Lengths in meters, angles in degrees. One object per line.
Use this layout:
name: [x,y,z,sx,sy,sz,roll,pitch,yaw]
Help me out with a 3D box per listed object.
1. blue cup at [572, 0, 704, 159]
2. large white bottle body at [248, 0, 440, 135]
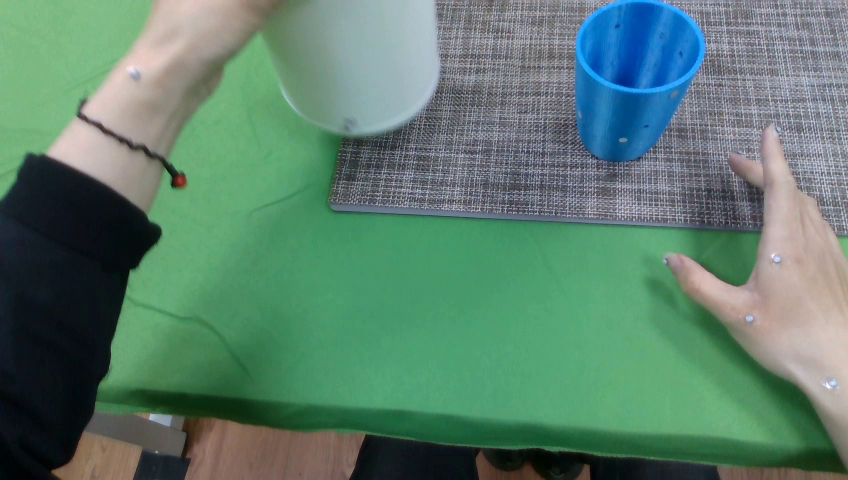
blue cup: [0.150,-0.112,0.452,0.092,0.101,0.092,-3,63,7]
large white bottle body: [-0.056,-0.176,0.420,0.130,0.186,0.129,-1,64,2]
